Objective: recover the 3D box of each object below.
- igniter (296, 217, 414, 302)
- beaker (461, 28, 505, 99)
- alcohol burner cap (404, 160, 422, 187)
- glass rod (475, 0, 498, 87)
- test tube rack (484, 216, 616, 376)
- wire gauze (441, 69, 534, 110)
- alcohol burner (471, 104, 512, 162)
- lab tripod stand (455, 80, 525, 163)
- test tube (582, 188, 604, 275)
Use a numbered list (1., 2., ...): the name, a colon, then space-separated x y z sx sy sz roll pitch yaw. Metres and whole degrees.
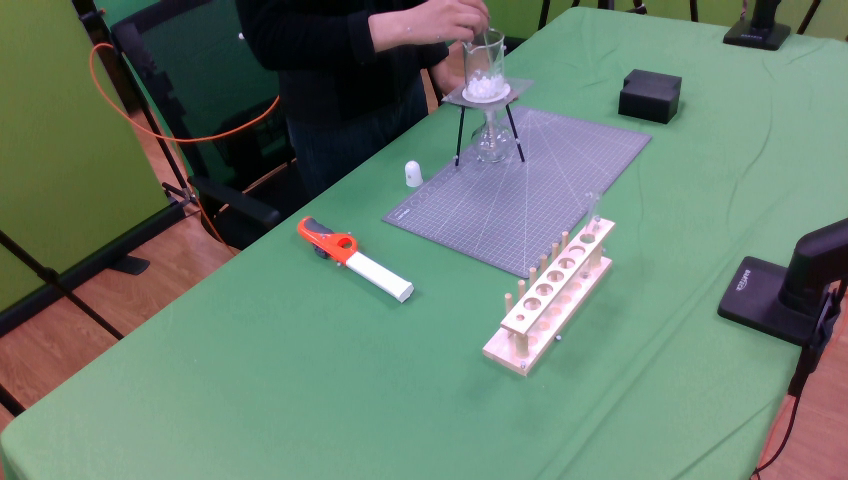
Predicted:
1. igniter: -0.121 0.025 0.970 0.274 0.025 0.057 29 63 37
2. beaker: 0.103 -0.303 1.051 0.073 0.101 0.084 19 48 29
3. alcohol burner cap: -0.022 -0.125 1.118 0.034 0.048 0.033 -4 40 4
4. glass rod: 0.104 -0.345 1.018 0.008 0.201 0.008 -12 42 11
5. test tube rack: 0.174 0.064 0.823 0.066 0.085 0.243 23 49 33
6. wire gauze: 0.114 -0.268 1.082 0.120 0.011 0.125 22 47 28
7. alcohol burner: 0.125 -0.207 1.126 0.078 0.119 0.077 -5 43 5
8. lab tripod stand: 0.120 -0.219 1.126 0.148 0.132 0.147 -4 40 4
9. test tube: 0.228 -0.007 0.821 0.017 0.151 0.017 -3 42 3
